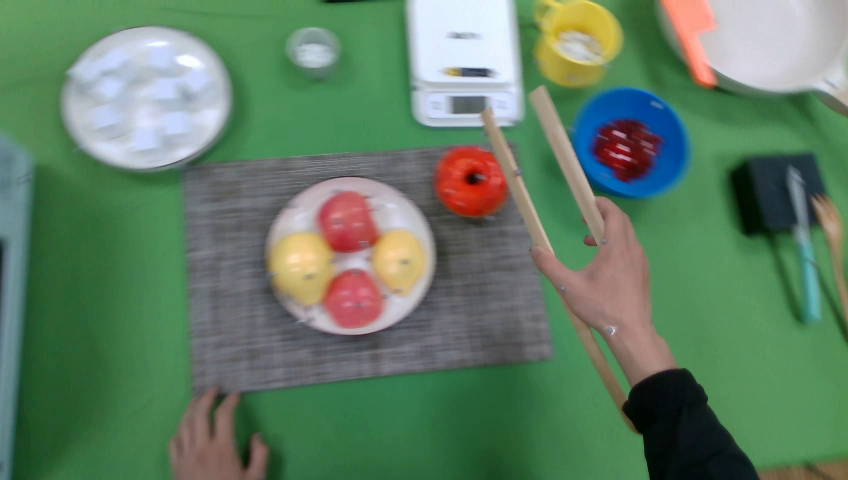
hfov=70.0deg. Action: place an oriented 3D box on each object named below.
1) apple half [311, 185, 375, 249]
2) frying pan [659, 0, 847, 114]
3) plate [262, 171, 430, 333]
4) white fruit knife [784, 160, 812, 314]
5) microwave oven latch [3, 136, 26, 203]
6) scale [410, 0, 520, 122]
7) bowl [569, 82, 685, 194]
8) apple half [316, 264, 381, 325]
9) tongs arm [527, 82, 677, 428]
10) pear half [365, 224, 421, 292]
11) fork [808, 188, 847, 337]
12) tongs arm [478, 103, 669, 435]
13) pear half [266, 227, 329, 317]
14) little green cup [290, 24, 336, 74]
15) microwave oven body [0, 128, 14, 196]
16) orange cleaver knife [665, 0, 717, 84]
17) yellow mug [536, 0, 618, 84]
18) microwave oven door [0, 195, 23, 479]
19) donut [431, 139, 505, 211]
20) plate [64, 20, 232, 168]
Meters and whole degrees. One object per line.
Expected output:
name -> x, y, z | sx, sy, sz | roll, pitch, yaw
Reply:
apple half -> -0.104, -0.031, 0.761 | 0.075, 0.053, 0.080 | -18, 82, -6
frying pan -> 0.535, -0.264, 0.859 | 0.307, 0.103, 0.484 | -32, 73, -10
plate -> -0.096, 0.015, 0.768 | 0.209, 0.038, 0.208 | 1, 76, -4
white fruit knife -> 0.494, -0.003, 0.805 | 0.016, 0.027, 0.207 | -8, 92, -7
microwave oven latch -> -0.510, -0.086, 0.742 | 0.030, 0.029, 0.079 | -1, 77, -6
scale -> 0.057, -0.264, 0.856 | 0.149, 0.031, 0.200 | -1, 77, -5
bowl -> 0.261, -0.126, 0.816 | 0.151, 0.077, 0.150 | 1, 77, -4
apple half -> -0.096, 0.065, 0.747 | 0.081, 0.033, 0.080 | 1, 69, -3
tongs arm -> 0.189, 0.016, 0.642 | 0.028, 0.027, 0.387 | -23, 91, -27
pear half -> -0.041, 0.020, 0.765 | 0.070, 0.031, 0.087 | -7, 74, 7
fork -> 0.547, 0.031, 0.810 | 0.028, 0.018, 0.207 | -15, 94, -11
tongs arm -> 0.155, 0.032, 0.626 | 0.051, 0.026, 0.384 | -24, 91, -24
pear half -> -0.150, 0.038, 0.735 | 0.076, 0.056, 0.109 | -11, 81, -16
little green cup -> -0.150, -0.261, 0.834 | 0.061, 0.039, 0.061 | 1, 76, -4
microwave oven body -> -0.638, 0.069, 0.594 | 0.326, 0.261, 0.439 | -3, 77, -6
orange cleaver knife -> 0.366, -0.315, 0.837 | 0.077, 0.012, 0.210 | -15, 79, -11
yellow mug -> 0.204, -0.294, 0.857 | 0.100, 0.064, 0.130 | -38, 81, -12
microwave oven door -> -0.489, 0.102, 0.594 | 0.039, 0.244, 0.354 | -3, 76, -5
donut -> 0.058, -0.086, 0.803 | 0.099, 0.048, 0.098 | 1, 78, -2
plate -> -0.357, -0.189, 0.799 | 0.208, 0.039, 0.206 | 1, 76, -5
